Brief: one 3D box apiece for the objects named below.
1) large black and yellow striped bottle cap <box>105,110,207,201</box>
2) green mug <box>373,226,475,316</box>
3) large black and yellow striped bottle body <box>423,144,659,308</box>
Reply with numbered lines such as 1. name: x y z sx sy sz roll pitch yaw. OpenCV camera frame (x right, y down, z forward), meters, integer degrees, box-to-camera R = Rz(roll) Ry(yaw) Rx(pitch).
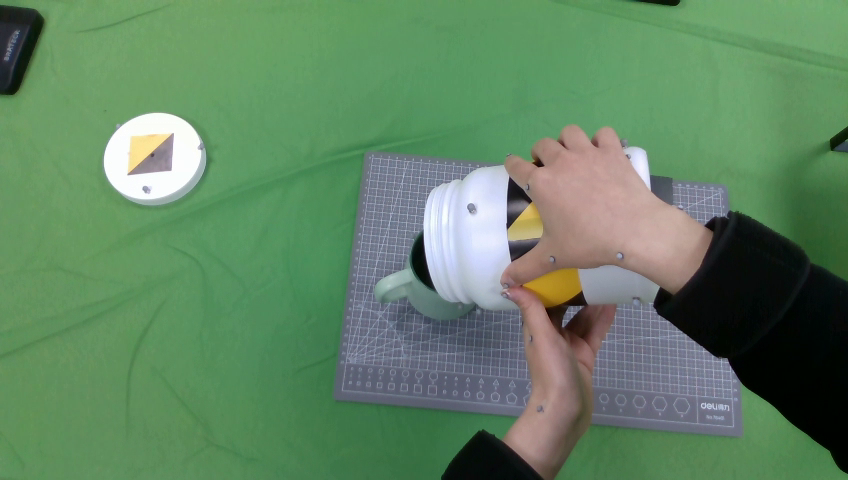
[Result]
1. large black and yellow striped bottle cap: -0.320 -0.102 0.724 0.115 0.019 0.114 1 72 -2
2. green mug: 0.006 0.036 0.648 0.125 0.105 0.092 -20 75 -8
3. large black and yellow striped bottle body: 0.103 -0.008 0.528 0.183 0.132 0.130 -5 71 21
